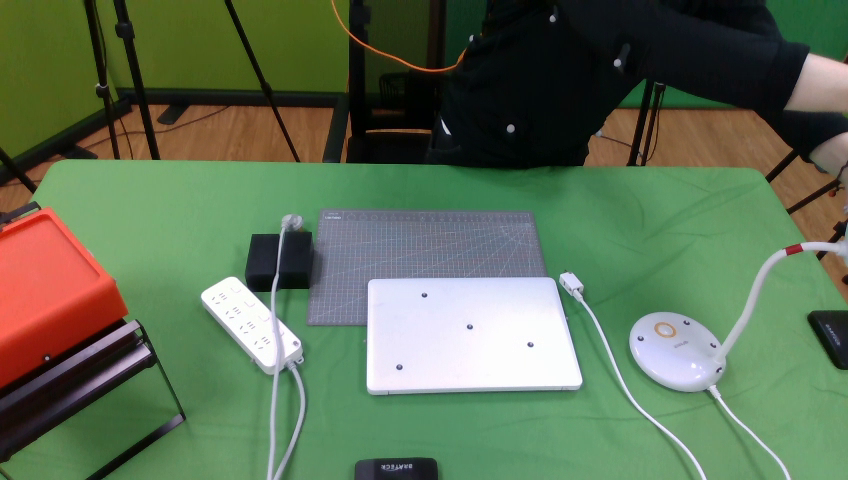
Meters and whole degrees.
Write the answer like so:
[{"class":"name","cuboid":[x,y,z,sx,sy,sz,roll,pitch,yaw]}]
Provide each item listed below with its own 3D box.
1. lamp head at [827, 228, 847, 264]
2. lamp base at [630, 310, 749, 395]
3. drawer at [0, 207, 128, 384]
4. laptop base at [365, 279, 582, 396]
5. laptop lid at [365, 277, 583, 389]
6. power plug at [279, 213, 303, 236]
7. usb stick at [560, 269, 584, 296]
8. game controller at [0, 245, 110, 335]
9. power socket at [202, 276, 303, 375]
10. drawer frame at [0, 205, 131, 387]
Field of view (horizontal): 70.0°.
[{"class":"lamp head","cuboid":[0.577,-0.003,0.753,0.112,0.123,0.111,1,47,-1]},{"class":"lamp base","cuboid":[0.447,0.143,0.984,0.161,0.181,0.178,-24,55,-24]},{"class":"drawer","cuboid":[-0.540,0.074,0.799,0.193,0.073,0.211,37,55,27]},{"class":"laptop base","cuboid":[0.077,0.162,1.053,0.355,0.023,0.234,0,44,-4]},{"class":"laptop lid","cuboid":[0.078,0.152,1.046,0.357,0.013,0.240,1,45,-3]},{"class":"power plug","cuboid":[-0.264,-0.021,1.184,0.035,0.053,0.072,2,48,32]},{"class":"usb stick","cuboid":[0.275,0.077,1.142,0.027,0.021,0.059,-12,39,-13]},{"class":"game controller","cuboid":[-0.511,0.062,0.830,0.097,0.052,0.154,-30,58,-31]},{"class":"power socket","cuboid":[-0.296,0.142,1.034,0.072,0.033,0.225,-34,58,-31]},{"class":"drawer frame","cuboid":[-0.539,0.076,0.795,0.200,0.083,0.213,36,54,26]}]
